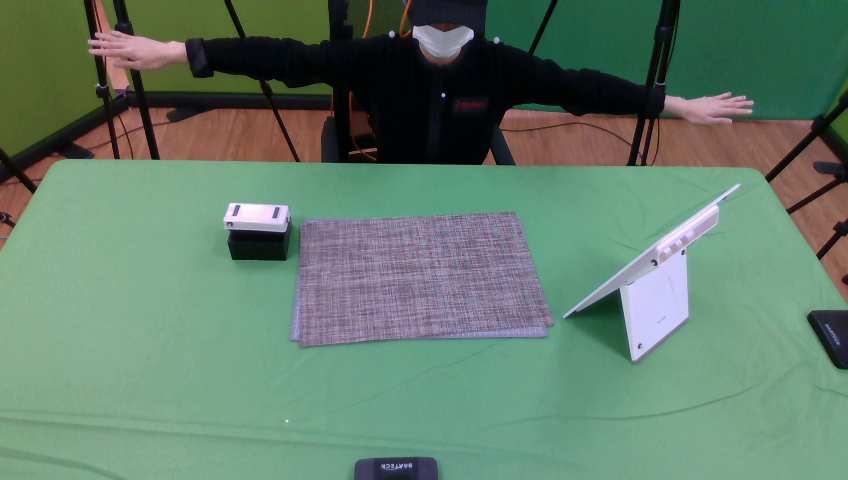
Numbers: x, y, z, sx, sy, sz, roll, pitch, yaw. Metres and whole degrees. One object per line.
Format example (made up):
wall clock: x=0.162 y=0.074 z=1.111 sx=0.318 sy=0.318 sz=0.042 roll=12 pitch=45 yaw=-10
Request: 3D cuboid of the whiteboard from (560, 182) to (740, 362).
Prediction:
whiteboard: x=0.406 y=0.075 z=1.001 sx=0.217 sy=0.306 sz=0.143 roll=-28 pitch=73 yaw=-28

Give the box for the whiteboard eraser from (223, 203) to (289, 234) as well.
whiteboard eraser: x=-0.311 y=-0.039 z=1.127 sx=0.113 sy=0.042 sz=0.055 roll=3 pitch=47 yaw=-2
